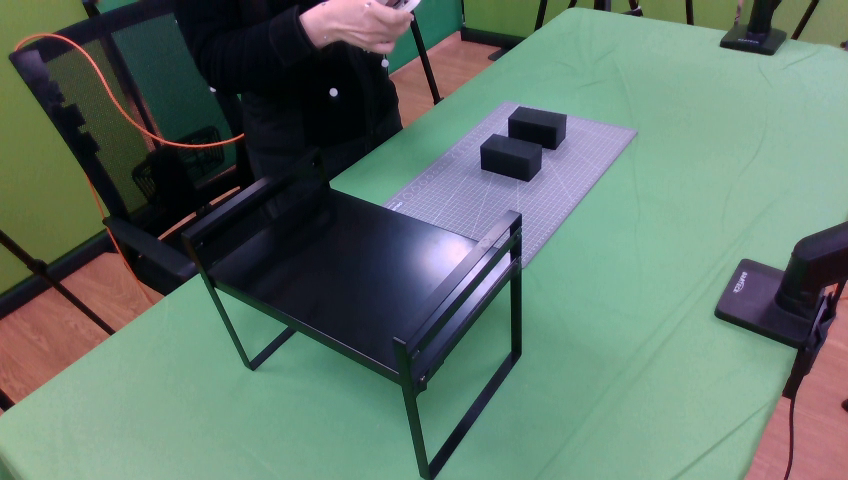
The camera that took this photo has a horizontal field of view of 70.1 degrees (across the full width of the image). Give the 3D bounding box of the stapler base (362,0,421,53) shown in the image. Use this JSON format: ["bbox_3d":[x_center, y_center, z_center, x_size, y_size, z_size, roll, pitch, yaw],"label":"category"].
[{"bbox_3d":[-0.053,-0.331,0.902,0.130,0.024,0.041,-27,40,43],"label":"stapler base"}]

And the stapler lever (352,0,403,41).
[{"bbox_3d":[-0.072,-0.342,0.890,0.117,0.040,0.027,-26,41,42],"label":"stapler lever"}]
